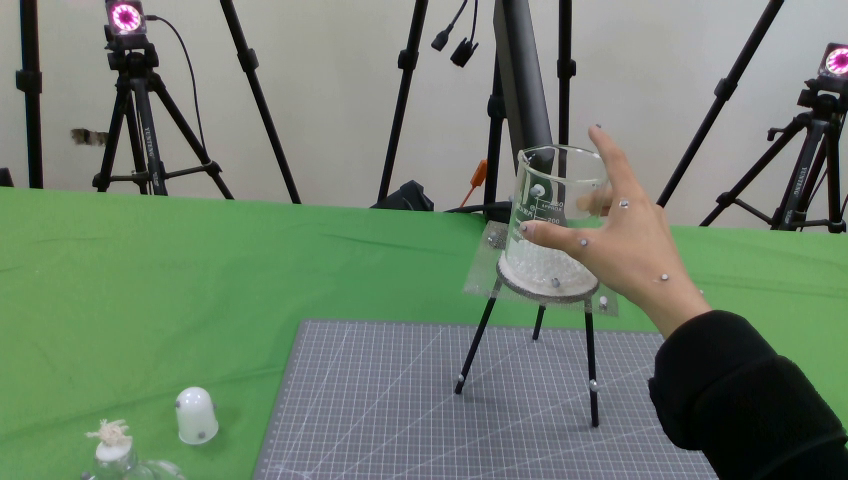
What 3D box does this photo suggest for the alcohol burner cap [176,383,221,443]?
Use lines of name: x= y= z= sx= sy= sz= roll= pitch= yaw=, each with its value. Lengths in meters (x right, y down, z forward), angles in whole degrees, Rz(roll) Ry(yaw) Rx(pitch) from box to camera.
alcohol burner cap: x=-0.191 y=0.142 z=0.508 sx=0.034 sy=0.048 sz=0.033 roll=2 pitch=30 yaw=-1

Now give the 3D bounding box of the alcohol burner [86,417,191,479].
alcohol burner: x=-0.196 y=0.164 z=0.399 sx=0.078 sy=0.120 sz=0.077 roll=1 pitch=31 yaw=0

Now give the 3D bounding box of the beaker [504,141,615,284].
beaker: x=0.104 y=-0.022 z=0.496 sx=0.074 sy=0.101 sz=0.083 roll=-21 pitch=39 yaw=-37

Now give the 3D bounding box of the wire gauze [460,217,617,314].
wire gauze: x=0.102 y=0.020 z=0.519 sx=0.121 sy=0.011 sz=0.124 roll=10 pitch=33 yaw=11

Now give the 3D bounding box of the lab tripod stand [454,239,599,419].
lab tripod stand: x=0.105 y=0.078 z=0.552 sx=0.148 sy=0.132 sz=0.147 roll=4 pitch=30 yaw=-2
